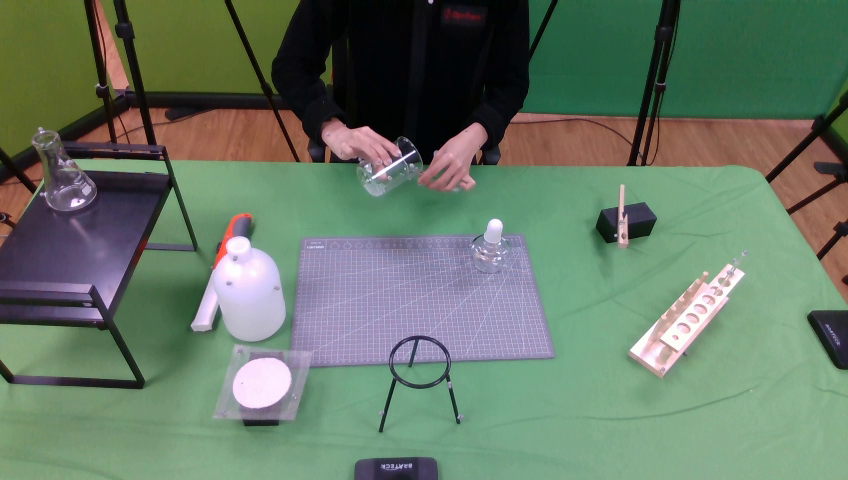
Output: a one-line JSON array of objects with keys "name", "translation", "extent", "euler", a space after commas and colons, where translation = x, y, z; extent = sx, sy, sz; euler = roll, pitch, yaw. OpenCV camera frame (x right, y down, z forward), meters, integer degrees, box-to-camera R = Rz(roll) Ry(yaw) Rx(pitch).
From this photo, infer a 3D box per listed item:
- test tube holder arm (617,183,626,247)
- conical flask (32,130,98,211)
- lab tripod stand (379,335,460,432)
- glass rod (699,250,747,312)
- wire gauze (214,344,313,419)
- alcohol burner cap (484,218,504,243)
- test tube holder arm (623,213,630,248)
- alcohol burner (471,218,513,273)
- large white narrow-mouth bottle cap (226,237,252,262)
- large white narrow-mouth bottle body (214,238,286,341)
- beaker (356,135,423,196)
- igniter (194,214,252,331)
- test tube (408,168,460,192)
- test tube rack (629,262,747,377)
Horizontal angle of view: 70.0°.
[{"name": "test tube holder arm", "translation": [0.395, -0.054, 1.210], "extent": [0.013, 0.015, 0.177], "euler": [15, 47, -1]}, {"name": "conical flask", "translation": [-0.565, -0.110, 0.944], "extent": [0.075, 0.122, 0.075], "euler": [2, 46, -2]}, {"name": "lab tripod stand", "translation": [-0.011, 0.214, 0.911], "extent": [0.148, 0.132, 0.147], "euler": [1, 45, 0]}, {"name": "glass rod", "translation": [0.500, 0.075, 1.021], "extent": [0.008, 0.201, 0.008], "euler": [0, 55, 1]}, {"name": "wire gauze", "translation": [-0.241, 0.213, 0.916], "extent": [0.121, 0.011, 0.124], "euler": [5, 46, 1]}, {"name": "alcohol burner cap", "translation": [0.130, -0.021, 1.106], "extent": [0.034, 0.048, 0.033], "euler": [3, 51, -4]}, {"name": "test tube holder arm", "translation": [0.392, -0.020, 1.180], "extent": [0.010, 0.015, 0.087], "euler": [15, 47, -1]}, {"name": "alcohol burner", "translation": [0.128, 0.005, 1.132], "extent": [0.078, 0.120, 0.077], "euler": [0, 47, 0]}, {"name": "large white narrow-mouth bottle cap", "translation": [-0.282, 0.014, 0.923], "extent": [0.038, 0.024, 0.037], "euler": [2, 46, -2]}, {"name": "large white narrow-mouth bottle body", "translation": [-0.285, 0.073, 0.986], "extent": [0.102, 0.195, 0.101], "euler": [2, 46, -2]}, {"name": "beaker", "translation": [-0.063, -0.128, 1.076], "extent": [0.100, 0.084, 0.073], "euler": [-34, 56, -21]}, {"name": "igniter", "translation": [-0.367, 0.050, 1.119], "extent": [0.057, 0.025, 0.275], "euler": [-4, 46, 8]}, {"name": "test tube", "translation": [0.023, -0.115, 1.177], "extent": [0.151, 0.017, 0.017], "euler": [13, 29, -49]}, {"name": "test tube rack", "translation": [0.464, 0.126, 1.060], "extent": [0.242, 0.085, 0.066], "euler": [-34, 56, -31]}]
